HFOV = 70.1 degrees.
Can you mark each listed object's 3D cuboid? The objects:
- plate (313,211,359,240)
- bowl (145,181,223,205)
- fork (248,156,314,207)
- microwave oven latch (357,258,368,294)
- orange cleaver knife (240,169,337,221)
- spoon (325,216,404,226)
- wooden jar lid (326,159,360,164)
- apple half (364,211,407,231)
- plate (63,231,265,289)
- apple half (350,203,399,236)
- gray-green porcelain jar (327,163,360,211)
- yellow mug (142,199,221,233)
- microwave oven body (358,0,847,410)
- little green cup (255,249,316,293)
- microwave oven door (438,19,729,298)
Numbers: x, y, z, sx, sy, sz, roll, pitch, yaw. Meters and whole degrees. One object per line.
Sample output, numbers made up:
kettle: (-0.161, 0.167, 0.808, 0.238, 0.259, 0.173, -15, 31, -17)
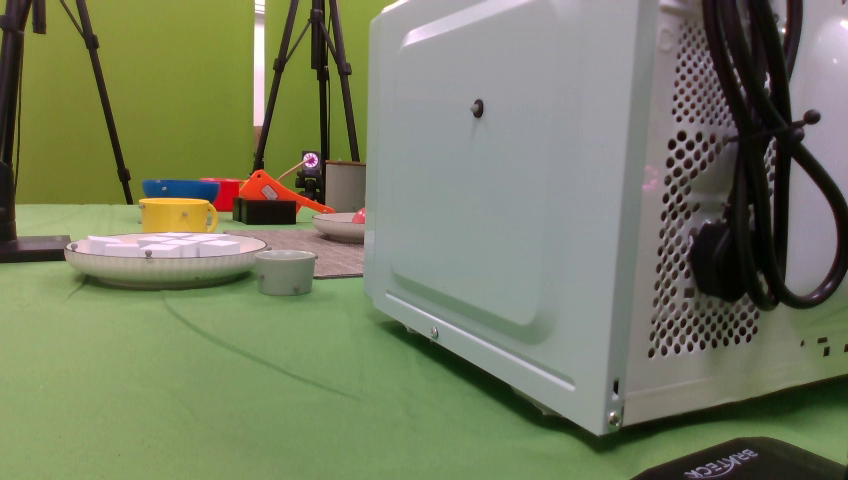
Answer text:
plate: (-0.091, -0.026, 1.063, 0.209, 0.038, 0.209, 2, 7, 0)
bowl: (-0.499, -0.081, 1.261, 0.151, 0.077, 0.151, 2, 7, 0)
fork: (-0.360, -0.147, 1.523, 0.207, 0.019, 0.028, -43, 17, -6)
microwave oven latch: (-0.019, 0.031, 0.530, 0.079, 0.029, 0.030, -1, 7, -27)
orange cleaver knife: (-0.287, -0.082, 1.298, 0.212, 0.077, 0.012, 25, -2, -31)
spoon: (-0.120, -0.043, 1.273, 0.195, 0.021, 0.041, -4, -12, -39)
wooden jar lid: (-0.185, -0.187, 1.481, 0.108, 0.020, 0.108, 4, 6, 0)
apple half: (-0.068, -0.037, 1.103, 0.081, 0.033, 0.081, -1, 10, 1)
plate: (-0.288, 0.021, 0.687, 0.208, 0.039, 0.207, 2, 8, 0)
apple half: (-0.082, -0.036, 1.024, 0.081, 0.053, 0.074, -3, 11, -34)
gray-green porcelain jar: (-0.187, -0.125, 1.490, 0.106, 0.126, 0.106, 2, 8, 0)
yellow mug: (-0.372, -0.030, 0.947, 0.099, 0.064, 0.131, 5, 7, 30)
microwave oven body: (0.210, -0.051, 0.471, 0.444, 0.260, 0.324, -1, 7, -28)
little green cup: (-0.144, 0.031, 0.627, 0.061, 0.038, 0.061, 2, 6, 0)
microwave oven door: (0.181, -0.076, 0.618, 0.358, 0.243, 0.039, -2, 8, -28)
